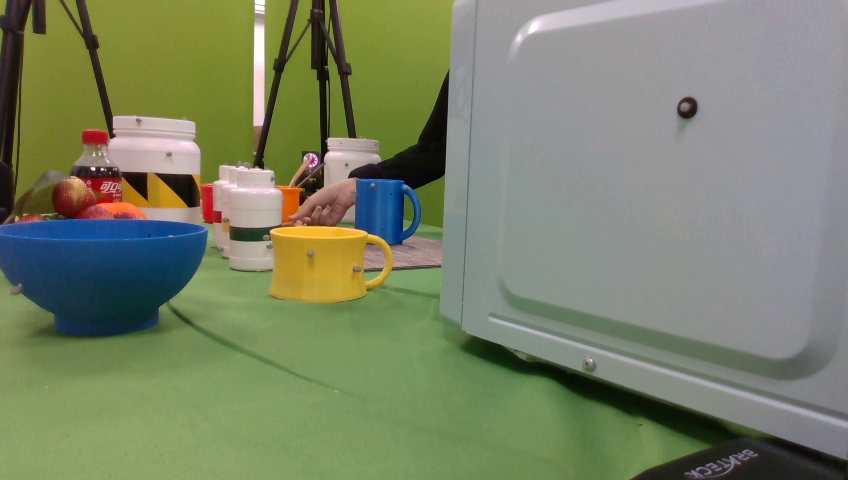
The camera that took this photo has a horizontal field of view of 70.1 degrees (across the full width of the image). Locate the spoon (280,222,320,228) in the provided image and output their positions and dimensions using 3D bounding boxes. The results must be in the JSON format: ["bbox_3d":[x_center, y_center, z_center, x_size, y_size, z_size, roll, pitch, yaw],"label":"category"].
[{"bbox_3d":[-0.230,-0.023,1.084,0.042,0.021,0.193,-24,19,-25],"label":"spoon"}]

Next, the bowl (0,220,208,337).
[{"bbox_3d":[-0.251,0.029,0.479,0.151,0.077,0.151,2,7,0],"label":"bowl"}]

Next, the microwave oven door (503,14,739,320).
[{"bbox_3d":[0.217,-0.065,0.600,0.358,0.243,0.039,-4,10,-41],"label":"microwave oven door"}]

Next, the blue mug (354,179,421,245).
[{"bbox_3d":[-0.060,-0.047,1.006,0.116,0.106,0.082,5,8,20],"label":"blue mug"}]

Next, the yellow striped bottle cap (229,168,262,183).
[{"bbox_3d":[-0.240,-0.086,0.816,0.044,0.018,0.044,-3,6,1],"label":"yellow striped bottle cap"}]

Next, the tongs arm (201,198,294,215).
[{"bbox_3d":[-0.423,-0.084,1.472,0.050,0.026,0.386,2,6,22],"label":"tongs arm"}]

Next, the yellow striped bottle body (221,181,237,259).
[{"bbox_3d":[-0.244,-0.035,0.823,0.063,0.120,0.063,2,8,0],"label":"yellow striped bottle body"}]

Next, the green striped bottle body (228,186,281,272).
[{"bbox_3d":[-0.208,-0.023,0.745,0.063,0.119,0.063,2,7,0],"label":"green striped bottle body"}]

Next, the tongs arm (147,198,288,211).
[{"bbox_3d":[-0.503,-0.091,1.513,0.028,0.028,0.389,-1,4,38],"label":"tongs arm"}]

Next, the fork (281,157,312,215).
[{"bbox_3d":[-0.289,-0.116,1.321,0.028,0.019,0.207,6,51,19],"label":"fork"}]

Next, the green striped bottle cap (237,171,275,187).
[{"bbox_3d":[-0.206,-0.074,0.738,0.044,0.020,0.044,1,9,0],"label":"green striped bottle cap"}]

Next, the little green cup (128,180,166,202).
[{"bbox_3d":[-0.485,-0.087,1.062,0.061,0.038,0.061,-1,6,0],"label":"little green cup"}]

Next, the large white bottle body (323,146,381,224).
[{"bbox_3d":[-0.163,-0.134,1.369,0.131,0.184,0.130,2,8,0],"label":"large white bottle body"}]

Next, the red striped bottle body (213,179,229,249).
[{"bbox_3d":[-0.284,-0.048,0.909,0.063,0.119,0.063,3,10,0],"label":"red striped bottle body"}]

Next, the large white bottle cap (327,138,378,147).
[{"bbox_3d":[-0.160,-0.218,1.357,0.115,0.018,0.115,2,8,0],"label":"large white bottle cap"}]

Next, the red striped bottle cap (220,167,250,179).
[{"bbox_3d":[-0.281,-0.100,0.901,0.044,0.017,0.044,0,5,0],"label":"red striped bottle cap"}]

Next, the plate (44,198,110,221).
[{"bbox_3d":[-0.617,-0.056,1.179,0.209,0.038,0.209,3,7,0],"label":"plate"}]

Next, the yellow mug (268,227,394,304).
[{"bbox_3d":[-0.094,0.023,0.630,0.131,0.064,0.099,0,8,-22],"label":"yellow mug"}]

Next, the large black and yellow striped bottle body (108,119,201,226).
[{"bbox_3d":[-0.412,-0.088,0.930,0.131,0.184,0.130,3,7,0],"label":"large black and yellow striped bottle body"}]

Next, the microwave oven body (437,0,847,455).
[{"bbox_3d":[0.279,-0.040,0.465,0.444,0.260,0.324,-3,9,-41],"label":"microwave oven body"}]

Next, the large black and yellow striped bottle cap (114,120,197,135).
[{"bbox_3d":[-0.407,-0.171,0.920,0.115,0.019,0.115,2,9,0],"label":"large black and yellow striped bottle cap"}]

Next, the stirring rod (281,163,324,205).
[{"bbox_3d":[-0.278,-0.105,1.293,0.176,0.006,0.014,-47,25,-18],"label":"stirring rod"}]

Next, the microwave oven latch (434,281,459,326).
[{"bbox_3d":[0.044,0.045,0.470,0.079,0.029,0.030,-3,8,-39],"label":"microwave oven latch"}]
